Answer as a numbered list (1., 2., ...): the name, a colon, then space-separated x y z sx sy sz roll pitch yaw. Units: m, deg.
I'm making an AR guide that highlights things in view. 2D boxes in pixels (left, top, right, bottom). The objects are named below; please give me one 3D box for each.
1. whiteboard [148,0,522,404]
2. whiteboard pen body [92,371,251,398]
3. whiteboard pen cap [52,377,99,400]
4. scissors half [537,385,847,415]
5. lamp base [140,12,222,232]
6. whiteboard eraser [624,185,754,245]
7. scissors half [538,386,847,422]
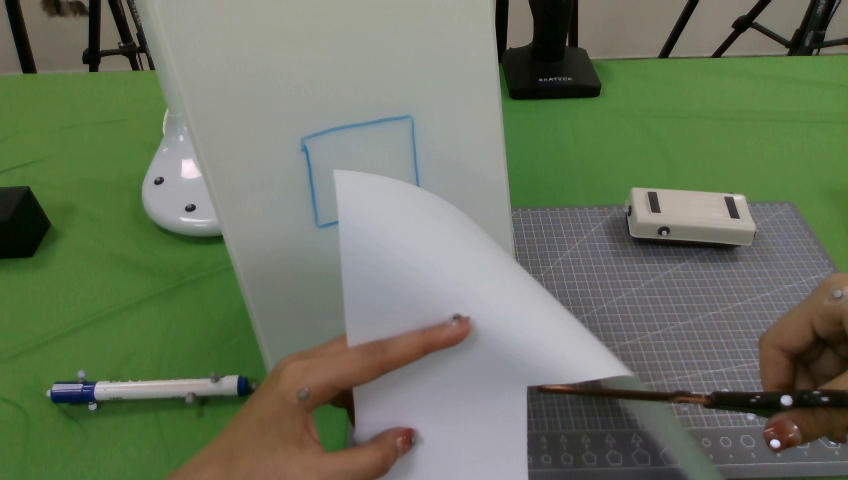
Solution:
1. whiteboard: -0.058 -0.061 0.494 0.217 0.308 0.142 -16 27 -14
2. whiteboard pen body: -0.210 0.115 0.477 0.141 0.017 0.017 -1 44 -6
3. whiteboard pen cap: -0.269 0.116 0.472 0.033 0.018 0.018 0 44 -8
4. scissors half: 0.145 0.078 0.305 0.174 0.040 0.012 -4 69 20
5. lamp base: -0.231 -0.126 0.611 0.177 0.182 0.160 29 52 30
6. whiteboard eraser: 0.256 -0.023 0.594 0.112 0.042 0.055 4 43 5
7. scissors half: 0.149 0.086 0.324 0.175 0.040 0.012 4 65 3
